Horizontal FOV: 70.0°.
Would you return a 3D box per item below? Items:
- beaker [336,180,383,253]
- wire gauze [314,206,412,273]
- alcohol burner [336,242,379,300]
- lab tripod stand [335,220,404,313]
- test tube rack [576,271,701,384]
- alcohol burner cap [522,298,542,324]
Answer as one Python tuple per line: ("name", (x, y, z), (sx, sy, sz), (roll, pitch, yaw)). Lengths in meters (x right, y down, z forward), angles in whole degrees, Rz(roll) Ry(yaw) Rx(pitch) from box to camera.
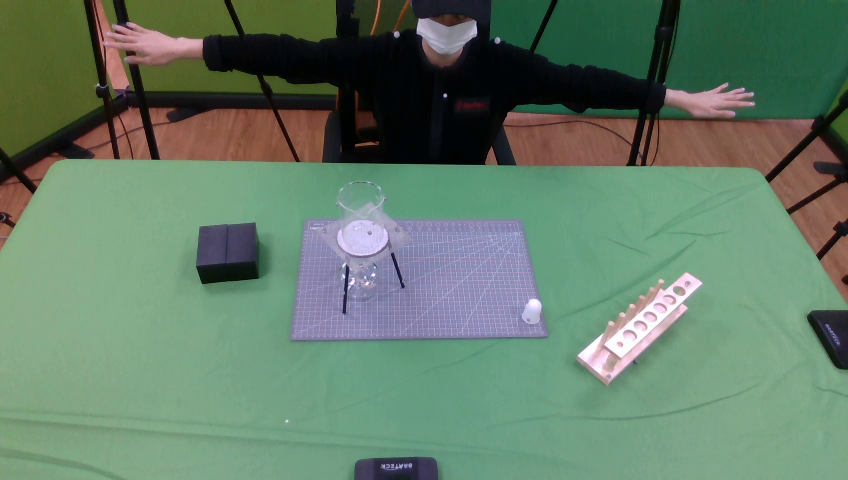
("beaker", (-0.102, -0.034, 0.981), (0.074, 0.101, 0.083), (-7, 46, -9))
("wire gauze", (-0.103, -0.007, 1.024), (0.121, 0.011, 0.124), (-28, 50, -29))
("alcohol burner", (-0.118, 0.050, 1.072), (0.078, 0.120, 0.077), (2, 44, -1))
("lab tripod stand", (-0.110, 0.039, 1.070), (0.148, 0.132, 0.147), (1, 46, -1))
("test tube rack", (0.373, 0.138, 1.047), (0.242, 0.085, 0.066), (-31, 56, -29))
("alcohol burner cap", (0.193, 0.124, 1.074), (0.034, 0.048, 0.033), (2, 46, -1))
